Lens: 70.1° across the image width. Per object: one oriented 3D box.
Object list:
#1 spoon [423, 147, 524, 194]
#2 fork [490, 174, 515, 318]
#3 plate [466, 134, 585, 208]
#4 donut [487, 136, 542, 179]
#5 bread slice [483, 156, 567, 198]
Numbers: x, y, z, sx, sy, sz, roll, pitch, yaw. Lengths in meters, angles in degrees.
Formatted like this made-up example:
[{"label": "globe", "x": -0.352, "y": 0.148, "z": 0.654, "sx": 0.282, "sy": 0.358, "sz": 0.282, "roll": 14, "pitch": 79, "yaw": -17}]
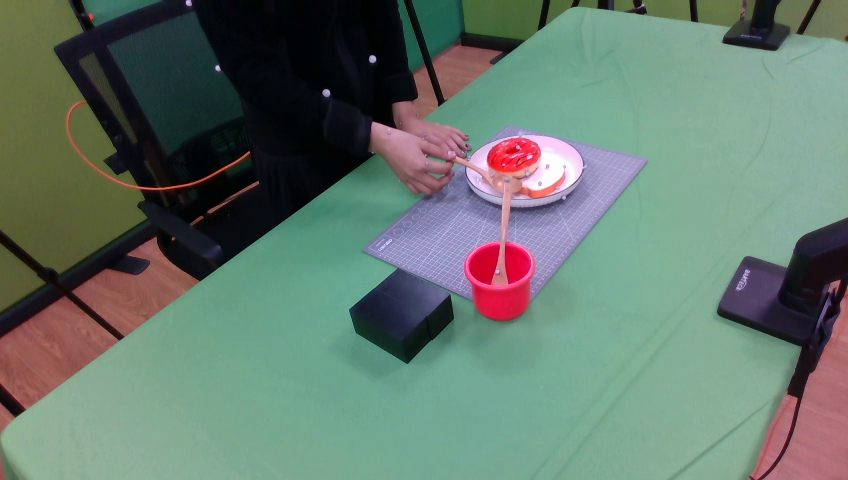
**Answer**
[{"label": "spoon", "x": 0.083, "y": -0.125, "z": 1.045, "sx": 0.193, "sy": 0.022, "sz": 0.041, "roll": 28, "pitch": 56, "yaw": 15}, {"label": "fork", "x": 0.113, "y": 0.006, "z": 0.854, "sx": 0.028, "sy": 0.019, "sz": 0.207, "roll": 4, "pitch": 84, "yaw": 16}, {"label": "plate", "x": 0.178, "y": -0.120, "z": 1.075, "sx": 0.209, "sy": 0.038, "sz": 0.208, "roll": -5, "pitch": 40, "yaw": 5}, {"label": "donut", "x": 0.159, "y": -0.147, "z": 1.068, "sx": 0.099, "sy": 0.048, "sz": 0.098, "roll": -9, "pitch": 40, "yaw": 8}, {"label": "bread slice", "x": 0.187, "y": -0.120, "z": 1.077, "sx": 0.130, "sy": 0.019, "sz": 0.105, "roll": 27, "pitch": 53, "yaw": 37}]
